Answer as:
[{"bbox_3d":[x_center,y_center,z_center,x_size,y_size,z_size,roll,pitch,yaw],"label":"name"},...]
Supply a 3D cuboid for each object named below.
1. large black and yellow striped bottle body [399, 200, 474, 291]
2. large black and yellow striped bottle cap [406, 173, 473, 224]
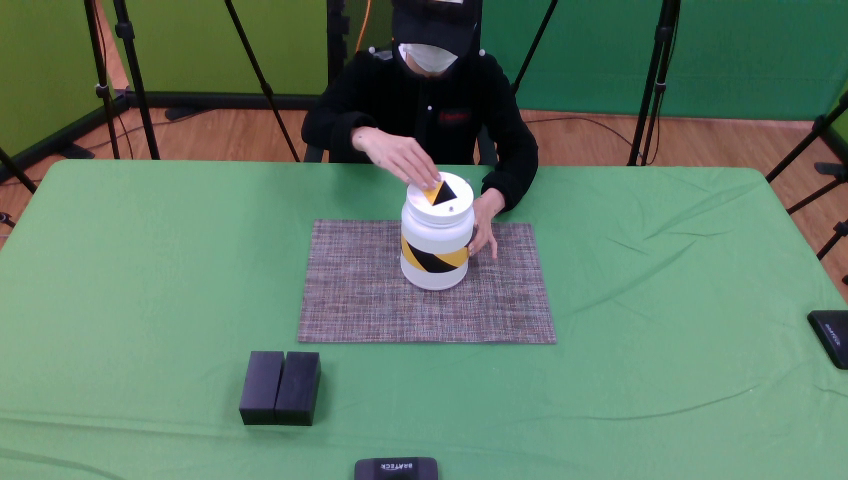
[{"bbox_3d":[0.021,-0.012,1.094,0.131,0.185,0.130,2,46,-2],"label":"large black and yellow striped bottle body"},{"bbox_3d":[0.026,-0.073,1.030,0.115,0.019,0.114,2,45,-2],"label":"large black and yellow striped bottle cap"}]
